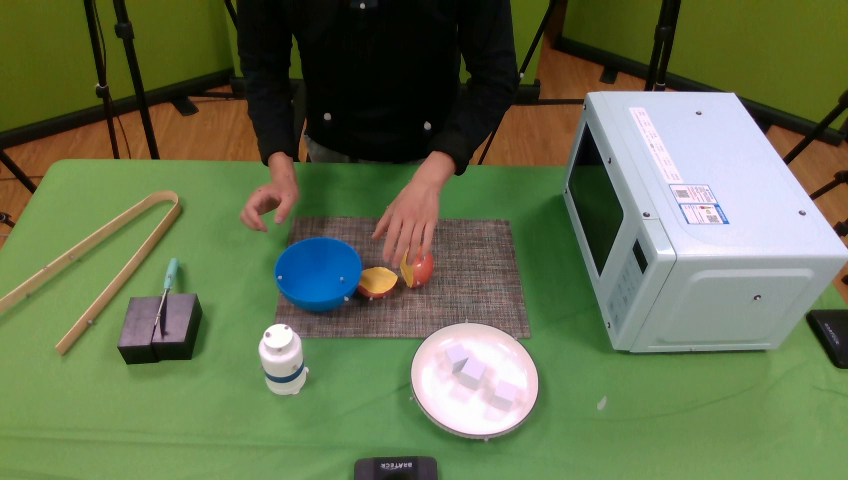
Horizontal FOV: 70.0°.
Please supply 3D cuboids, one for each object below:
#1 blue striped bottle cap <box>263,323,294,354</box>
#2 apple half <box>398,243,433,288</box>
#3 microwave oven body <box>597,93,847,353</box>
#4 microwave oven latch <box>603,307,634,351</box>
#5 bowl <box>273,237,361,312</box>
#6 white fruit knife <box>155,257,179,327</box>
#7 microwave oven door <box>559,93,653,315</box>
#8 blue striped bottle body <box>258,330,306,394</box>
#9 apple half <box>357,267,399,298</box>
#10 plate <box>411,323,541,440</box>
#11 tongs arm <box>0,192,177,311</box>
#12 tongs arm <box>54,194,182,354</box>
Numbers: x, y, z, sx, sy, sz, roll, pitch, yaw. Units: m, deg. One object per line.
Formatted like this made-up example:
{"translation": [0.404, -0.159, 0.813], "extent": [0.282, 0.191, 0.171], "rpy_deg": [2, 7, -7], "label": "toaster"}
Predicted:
{"translation": [-0.217, 0.146, 0.900], "extent": [0.044, 0.021, 0.044], "rpy_deg": [1, 46, -1], "label": "blue striped bottle cap"}
{"translation": [-0.012, 0.046, 1.115], "extent": [0.053, 0.075, 0.080], "rpy_deg": [-11, 44, -20], "label": "apple half"}
{"translation": [0.475, -0.041, 1.109], "extent": [0.326, 0.261, 0.438], "rpy_deg": [-1, 45, -4], "label": "microwave oven body"}
{"translation": [0.332, 0.153, 1.044], "extent": [0.030, 0.029, 0.078], "rpy_deg": [0, 45, -4], "label": "microwave oven latch"}
{"translation": [-0.186, 0.074, 1.069], "extent": [0.151, 0.077, 0.150], "rpy_deg": [3, 46, -2], "label": "bowl"}
{"translation": [-0.440, 0.085, 1.037], "extent": [0.016, 0.027, 0.206], "rpy_deg": [10, 26, -19], "label": "white fruit knife"}
{"translation": [0.327, -0.074, 1.123], "extent": [0.039, 0.245, 0.353], "rpy_deg": [-1, 46, -5], "label": "microwave oven door"}
{"translation": [-0.220, 0.182, 0.937], "extent": [0.063, 0.121, 0.062], "rpy_deg": [2, 46, -2], "label": "blue striped bottle body"}
{"translation": [-0.083, 0.083, 1.099], "extent": [0.081, 0.033, 0.081], "rpy_deg": [-2, 31, 1], "label": "apple half"}
{"translation": [0.082, 0.228, 0.976], "extent": [0.208, 0.039, 0.206], "rpy_deg": [2, 45, -2], "label": "plate"}
{"translation": [-0.618, 0.019, 1.123], "extent": [0.050, 0.026, 0.384], "rpy_deg": [24, 47, 16], "label": "tongs arm"}
{"translation": [-0.543, 0.048, 1.107], "extent": [0.028, 0.028, 0.385], "rpy_deg": [11, 46, 10], "label": "tongs arm"}
